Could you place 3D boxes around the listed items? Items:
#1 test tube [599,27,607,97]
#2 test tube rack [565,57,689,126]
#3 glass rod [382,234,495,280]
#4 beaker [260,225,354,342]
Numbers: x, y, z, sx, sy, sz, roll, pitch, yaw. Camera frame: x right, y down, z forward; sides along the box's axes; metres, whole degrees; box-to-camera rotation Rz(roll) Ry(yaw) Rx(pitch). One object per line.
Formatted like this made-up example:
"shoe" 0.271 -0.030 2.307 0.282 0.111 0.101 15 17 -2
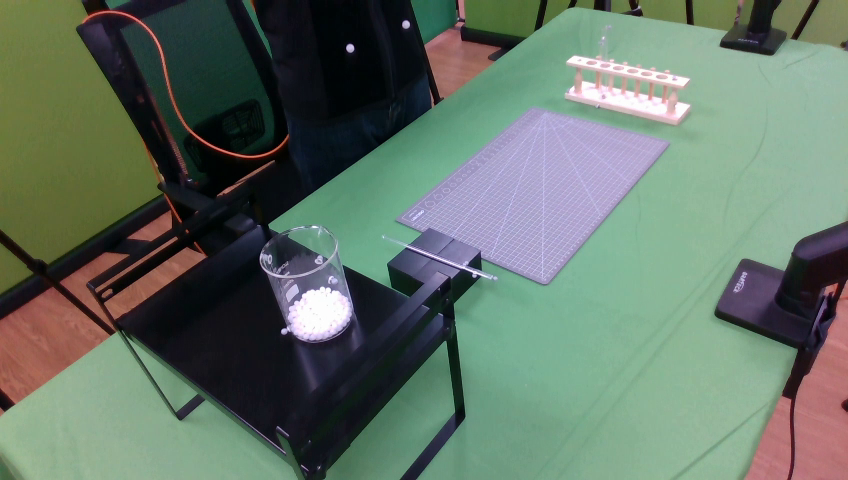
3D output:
"test tube" 0.358 -0.353 1.210 0.017 0.151 0.017 -8 43 8
"test tube rack" 0.412 -0.311 1.230 0.240 0.085 0.067 24 49 32
"glass rod" 0.017 0.023 0.882 0.198 0.008 0.008 21 48 29
"beaker" -0.111 0.045 0.601 0.073 0.101 0.084 7 42 17
